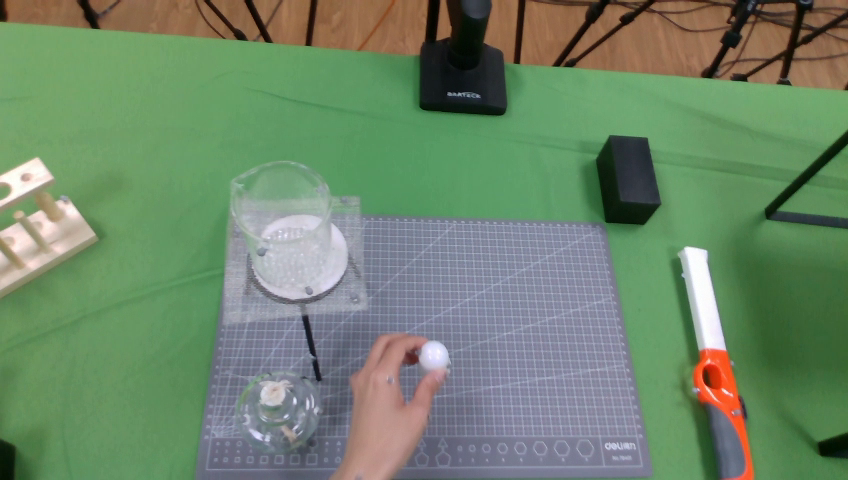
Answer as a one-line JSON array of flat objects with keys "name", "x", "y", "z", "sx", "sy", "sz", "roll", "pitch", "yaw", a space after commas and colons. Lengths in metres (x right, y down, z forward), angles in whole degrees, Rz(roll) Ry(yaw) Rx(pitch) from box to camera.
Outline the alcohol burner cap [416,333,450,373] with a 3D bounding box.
[{"name": "alcohol burner cap", "x": 0.007, "y": 0.104, "z": 0.564, "sx": 0.034, "sy": 0.048, "sz": 0.033, "roll": -1, "pitch": 68, "yaw": 3}]

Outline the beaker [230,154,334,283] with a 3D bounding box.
[{"name": "beaker", "x": -0.116, "y": -0.014, "z": 0.503, "sx": 0.084, "sy": 0.101, "sz": 0.073, "roll": 25, "pitch": 62, "yaw": 6}]

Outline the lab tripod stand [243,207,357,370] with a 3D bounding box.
[{"name": "lab tripod stand", "x": -0.120, "y": 0.042, "z": 0.602, "sx": 0.149, "sy": 0.132, "sz": 0.147, "roll": 4, "pitch": 62, "yaw": -7}]

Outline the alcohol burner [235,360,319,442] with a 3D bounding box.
[{"name": "alcohol burner", "x": -0.136, "y": 0.143, "z": 0.558, "sx": 0.078, "sy": 0.120, "sz": 0.077, "roll": 4, "pitch": 60, "yaw": -7}]

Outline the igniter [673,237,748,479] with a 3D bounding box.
[{"name": "igniter", "x": 0.317, "y": 0.122, "z": 0.675, "sx": 0.057, "sy": 0.025, "sz": 0.274, "roll": 9, "pitch": 62, "yaw": -14}]

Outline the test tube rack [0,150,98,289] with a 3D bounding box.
[{"name": "test tube rack", "x": -0.471, "y": 0.016, "z": 0.604, "sx": 0.242, "sy": 0.086, "sz": 0.066, "roll": -37, "pitch": 72, "yaw": -23}]

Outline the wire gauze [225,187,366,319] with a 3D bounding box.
[{"name": "wire gauze", "x": -0.117, "y": 0.007, "z": 0.547, "sx": 0.122, "sy": 0.011, "sz": 0.124, "roll": -4, "pitch": 66, "yaw": -7}]
